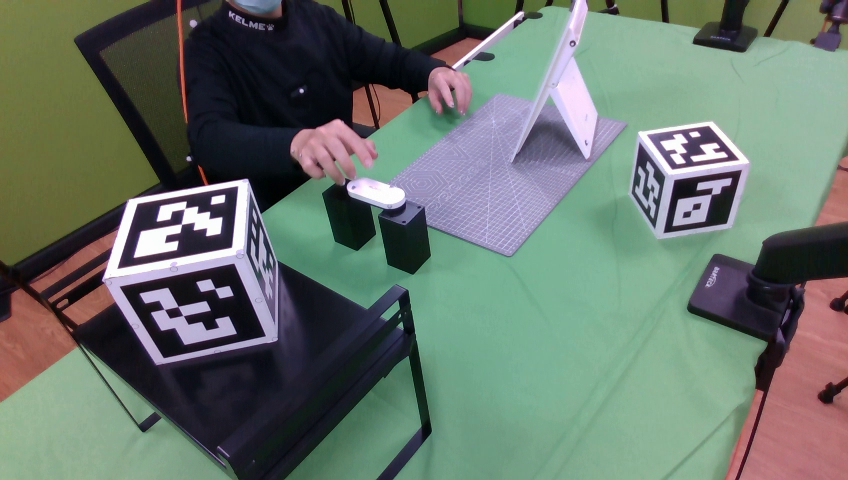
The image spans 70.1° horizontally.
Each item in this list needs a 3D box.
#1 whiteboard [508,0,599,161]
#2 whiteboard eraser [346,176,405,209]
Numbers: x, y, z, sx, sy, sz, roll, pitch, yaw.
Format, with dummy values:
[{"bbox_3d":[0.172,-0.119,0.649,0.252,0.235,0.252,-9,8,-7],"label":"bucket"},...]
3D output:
[{"bbox_3d":[0.285,-0.289,1.088,0.144,0.305,0.217,22,45,3],"label":"whiteboard"},{"bbox_3d":[-0.073,-0.072,0.910,0.100,0.019,0.041,20,49,29],"label":"whiteboard eraser"}]
